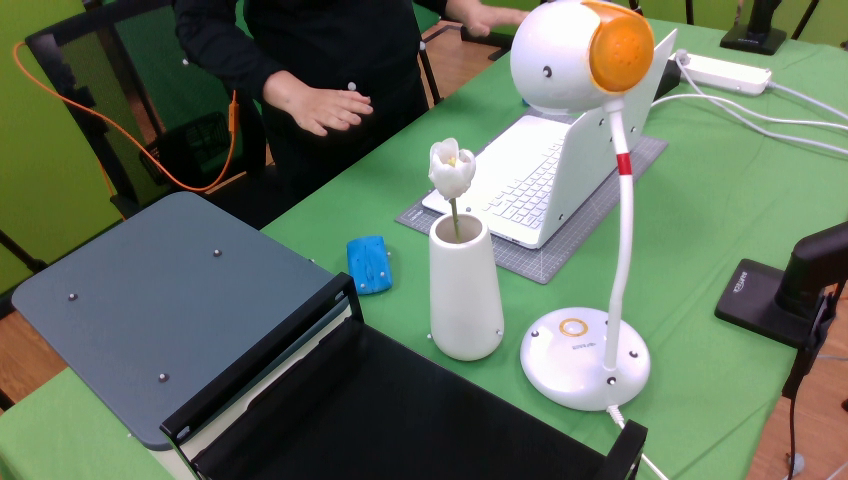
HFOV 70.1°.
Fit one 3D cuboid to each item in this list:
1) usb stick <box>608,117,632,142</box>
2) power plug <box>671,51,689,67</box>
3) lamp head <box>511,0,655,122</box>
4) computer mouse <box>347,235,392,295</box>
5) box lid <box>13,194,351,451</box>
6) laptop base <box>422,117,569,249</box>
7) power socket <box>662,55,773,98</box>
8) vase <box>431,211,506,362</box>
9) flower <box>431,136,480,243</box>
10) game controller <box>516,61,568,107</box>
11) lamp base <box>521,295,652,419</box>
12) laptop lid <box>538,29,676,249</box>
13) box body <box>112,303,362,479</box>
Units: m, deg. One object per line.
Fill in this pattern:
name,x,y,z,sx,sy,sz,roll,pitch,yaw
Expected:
usb stick,0.370,-0.207,1.147,0.021,0.027,0.059,27,55,32
power plug,0.541,-0.378,1.301,0.073,0.053,0.035,-32,46,-24
lamp head,0.155,-0.168,0.564,0.113,0.113,0.122,-18,23,-12
computer mouse,-0.086,0.034,0.936,0.063,0.041,0.116,-8,45,-5
box lid,-0.292,0.067,0.717,0.368,0.015,0.264,25,50,33
laptop base,0.192,-0.116,1.087,0.233,0.023,0.355,21,48,34
power socket,0.619,-0.352,1.289,0.225,0.033,0.072,26,51,33
vase,0.054,0.062,0.757,0.098,0.201,0.097,-3,40,3
flower,0.041,0.011,0.691,0.044,0.363,0.038,16,62,14
game controller,0.259,-0.352,1.336,0.097,0.052,0.154,-3,41,2
lamp base,0.200,0.095,0.710,0.161,0.181,0.177,-17,43,-10
laptop lid,0.288,-0.159,0.939,0.013,0.242,0.358,31,51,24
box body,-0.285,0.123,0.766,0.361,0.161,0.255,25,49,33
